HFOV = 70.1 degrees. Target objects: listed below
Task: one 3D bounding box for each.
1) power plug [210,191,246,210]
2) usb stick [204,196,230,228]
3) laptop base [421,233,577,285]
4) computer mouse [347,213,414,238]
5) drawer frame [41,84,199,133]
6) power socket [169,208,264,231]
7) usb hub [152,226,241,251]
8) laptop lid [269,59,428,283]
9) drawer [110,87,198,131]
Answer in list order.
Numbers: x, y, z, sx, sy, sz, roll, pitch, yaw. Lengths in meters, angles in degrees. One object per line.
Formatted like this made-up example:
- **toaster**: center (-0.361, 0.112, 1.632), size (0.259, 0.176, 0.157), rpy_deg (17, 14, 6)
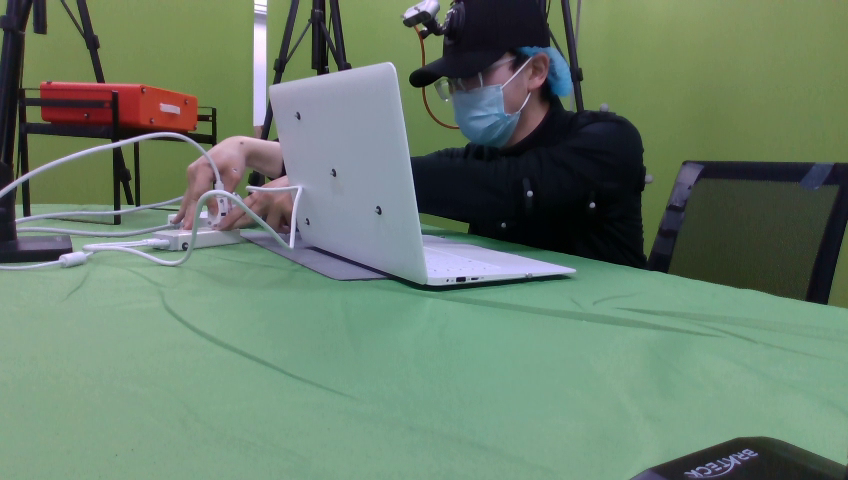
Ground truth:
- **power plug**: center (-0.387, -0.070, 1.204), size (0.072, 0.052, 0.035), rpy_deg (7, 10, 25)
- **usb stick**: center (-0.322, -0.037, 0.940), size (0.027, 0.059, 0.021), rpy_deg (11, 1, 16)
- **laptop base**: center (0.007, 0.022, 0.850), size (0.237, 0.023, 0.352), rpy_deg (1, 7, -34)
- **computer mouse**: center (-0.079, -0.025, 1.080), size (0.117, 0.041, 0.062), rpy_deg (-5, 12, -18)
- **drawer frame**: center (-0.604, -0.264, 1.225), size (0.213, 0.082, 0.202), rpy_deg (3, 8, 8)
- **power socket**: center (-0.381, -0.038, 1.128), size (0.072, 0.032, 0.227), rpy_deg (4, 8, 17)
- **usb hub**: center (-0.338, -0.003, 0.907), size (0.049, 0.025, 0.125), rpy_deg (6, 9, 27)
- **laptop lid**: center (-0.110, -0.087, 0.752), size (0.013, 0.241, 0.355), rpy_deg (-18, 19, -30)
- **drawer**: center (-0.602, -0.263, 1.225), size (0.211, 0.073, 0.195), rpy_deg (3, 8, 10)
